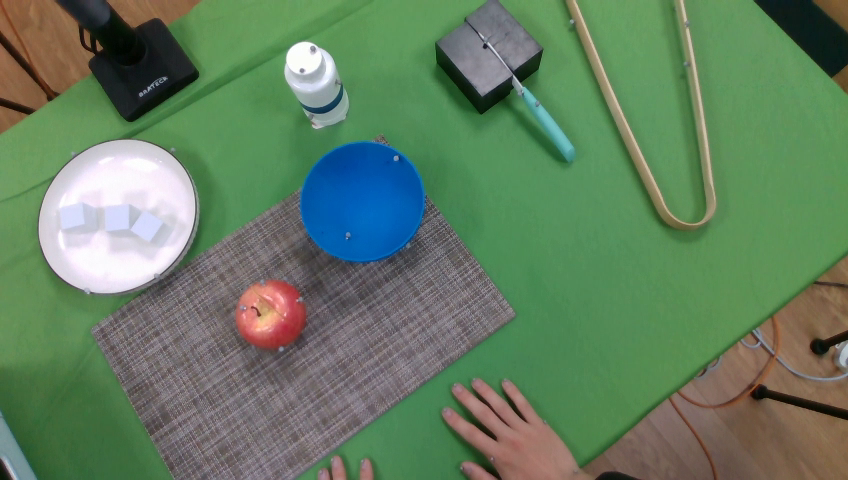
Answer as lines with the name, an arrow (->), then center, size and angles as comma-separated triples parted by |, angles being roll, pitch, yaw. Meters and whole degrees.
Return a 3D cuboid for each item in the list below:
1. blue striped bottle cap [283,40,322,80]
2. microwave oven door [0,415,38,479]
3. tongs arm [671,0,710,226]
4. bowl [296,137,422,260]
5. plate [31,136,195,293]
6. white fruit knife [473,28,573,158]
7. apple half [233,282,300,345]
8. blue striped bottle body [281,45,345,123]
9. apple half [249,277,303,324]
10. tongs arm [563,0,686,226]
blue striped bottle cap -> -0.145, -0.214, 0.719 | 0.044, 0.021, 0.044 | 0, 76, 1
microwave oven door -> -0.424, 0.328, 0.582 | 0.039, 0.245, 0.354 | -37, 78, -6
tongs arm -> 0.329, -0.209, 0.793 | 0.051, 0.026, 0.383 | -6, 78, 2
bowl -> -0.075, -0.043, 0.748 | 0.151, 0.077, 0.150 | -1, 77, 3
plate -> -0.396, -0.031, 0.785 | 0.207, 0.039, 0.206 | 0, 77, 2
white fruit knife -> 0.126, -0.192, 0.781 | 0.016, 0.027, 0.207 | -38, 89, -7
apple half -> -0.194, 0.095, 0.725 | 0.080, 0.075, 0.053 | 39, 86, 7
blue striped bottle body -> -0.141, -0.202, 0.769 | 0.063, 0.121, 0.063 | -1, 76, 3
apple half -> -0.169, 0.067, 0.729 | 0.081, 0.081, 0.033 | 39, 84, 11
tongs arm -> 0.249, -0.193, 0.797 | 0.028, 0.028, 0.385 | -19, 77, -4
